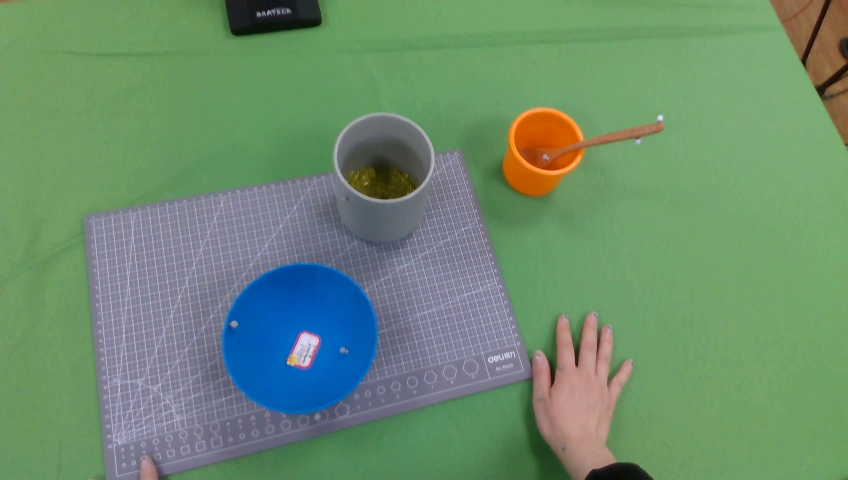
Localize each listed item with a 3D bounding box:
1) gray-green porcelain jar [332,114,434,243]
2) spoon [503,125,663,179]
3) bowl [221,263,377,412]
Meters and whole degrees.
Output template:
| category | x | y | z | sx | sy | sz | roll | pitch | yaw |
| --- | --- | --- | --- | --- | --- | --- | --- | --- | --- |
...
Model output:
| category | x | y | z | sx | sy | sz | roll | pitch | yaw |
| --- | --- | --- | --- | --- | --- | --- | --- | --- | --- |
| gray-green porcelain jar | -0.048 | -0.061 | 0.676 | 0.106 | 0.127 | 0.105 | 2 | 68 | -6 |
| spoon | 0.181 | -0.106 | 0.713 | 0.022 | 0.193 | 0.041 | 29 | 59 | -44 |
| bowl | -0.125 | 0.106 | 0.627 | 0.151 | 0.077 | 0.150 | 3 | 68 | -6 |
